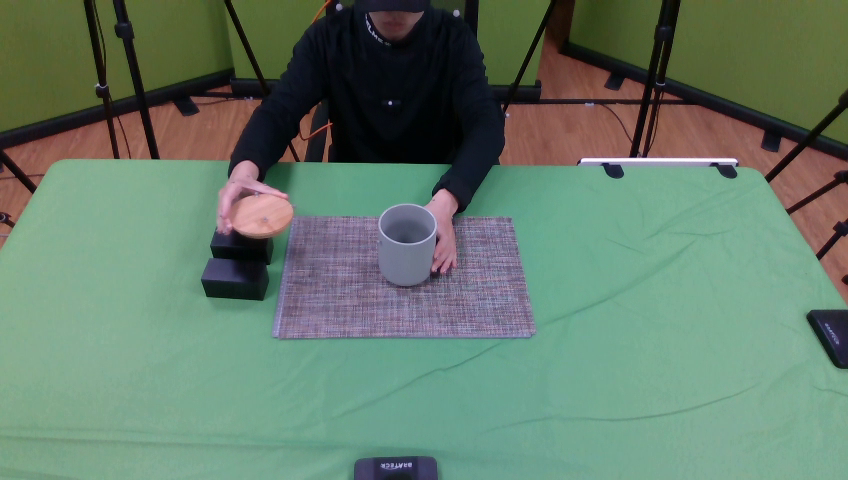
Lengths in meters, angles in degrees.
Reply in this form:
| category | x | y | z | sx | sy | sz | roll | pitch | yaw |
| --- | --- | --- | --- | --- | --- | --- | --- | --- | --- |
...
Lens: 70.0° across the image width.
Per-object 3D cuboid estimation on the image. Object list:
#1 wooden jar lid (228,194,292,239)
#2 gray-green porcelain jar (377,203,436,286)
| category | x | y | z | sx | sy | sz | roll | pitch | yaw |
| --- | --- | --- | --- | --- | --- | --- | --- | --- | --- |
| wooden jar lid | -0.283 | -0.040 | 1.050 | 0.108 | 0.021 | 0.107 | 4 | 41 | -3 |
| gray-green porcelain jar | -0.033 | 0.014 | 1.106 | 0.106 | 0.127 | 0.105 | 2 | 46 | -2 |
